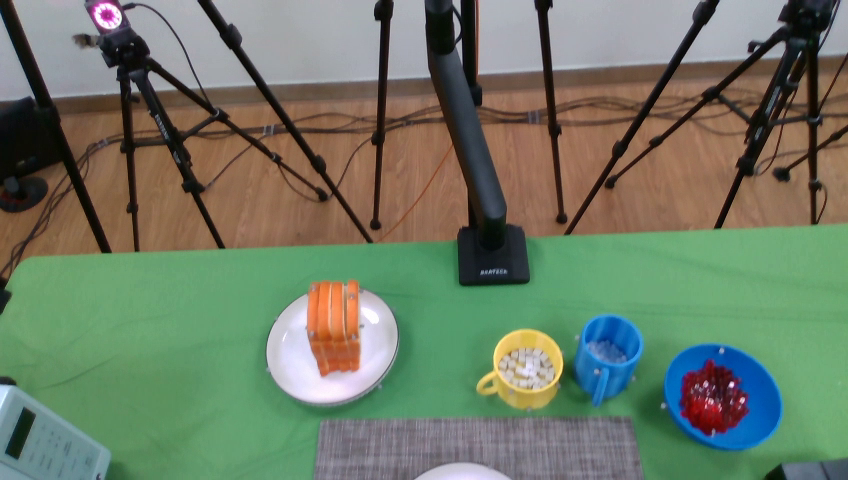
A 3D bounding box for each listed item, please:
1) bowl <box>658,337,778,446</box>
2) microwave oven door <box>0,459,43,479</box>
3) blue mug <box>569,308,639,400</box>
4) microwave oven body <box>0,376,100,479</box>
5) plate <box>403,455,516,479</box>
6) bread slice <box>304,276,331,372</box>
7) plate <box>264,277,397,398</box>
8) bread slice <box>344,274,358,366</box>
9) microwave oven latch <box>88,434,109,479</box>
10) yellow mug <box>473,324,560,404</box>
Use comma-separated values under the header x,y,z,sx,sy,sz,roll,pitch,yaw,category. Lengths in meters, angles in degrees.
x,y,z,sx,sy,sz,roll,pitch,yaw,category
0.395,0.219,0.839,0.151,0.077,0.150,-2,54,3,bowl
-0.476,0.428,0.626,0.039,0.246,0.352,-2,53,3,microwave oven door
0.252,0.173,0.866,0.082,0.107,0.116,14,56,15,blue mug
-0.620,0.400,0.663,0.326,0.262,0.437,-1,54,3,microwave oven body
0.046,0.381,0.766,0.209,0.038,0.207,-2,54,3,plate
-0.159,0.118,0.911,0.018,0.135,0.106,-3,50,0,bread slice
-0.145,0.154,0.952,0.207,0.039,0.205,-2,54,3,plate
-0.109,0.116,0.910,0.019,0.132,0.104,-1,55,-6,bread slice
-0.464,0.311,0.836,0.030,0.030,0.078,2,55,5,microwave oven latch
0.132,0.188,0.889,0.131,0.064,0.099,-21,54,-9,yellow mug
